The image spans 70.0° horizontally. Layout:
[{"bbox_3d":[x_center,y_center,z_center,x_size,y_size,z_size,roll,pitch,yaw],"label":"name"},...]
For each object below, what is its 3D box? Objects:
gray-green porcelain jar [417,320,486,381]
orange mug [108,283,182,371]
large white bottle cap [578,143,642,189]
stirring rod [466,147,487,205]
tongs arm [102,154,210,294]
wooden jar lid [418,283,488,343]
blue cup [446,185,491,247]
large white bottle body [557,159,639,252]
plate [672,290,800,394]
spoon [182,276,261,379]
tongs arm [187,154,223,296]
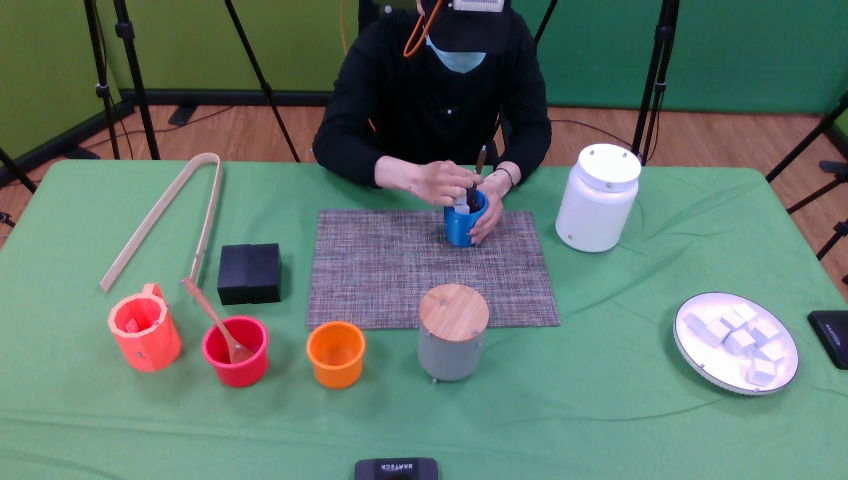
[{"bbox_3d":[0.042,0.158,0.975,0.106,0.127,0.105,2,46,-2],"label":"gray-green porcelain jar"},{"bbox_3d":[-0.445,0.134,0.982,0.083,0.101,0.125,-1,50,-5],"label":"orange mug"},{"bbox_3d":[0.344,-0.139,1.123,0.115,0.018,0.114,2,46,-2],"label":"large white bottle cap"},{"bbox_3d":[0.093,-0.100,1.148,0.014,0.177,0.006,-15,47,-29],"label":"stirring rod"},{"bbox_3d":[-0.524,-0.046,1.203,0.028,0.028,0.385,4,45,13],"label":"tongs arm"},{"bbox_3d":[0.045,0.114,0.931,0.108,0.021,0.107,2,49,-2],"label":"wooden jar lid"},{"bbox_3d":[0.080,-0.042,1.185,0.093,0.101,0.092,3,46,-3],"label":"blue cup"},{"bbox_3d":[0.340,-0.081,1.185,0.131,0.185,0.130,2,46,-1],"label":"large white bottle body"},{"bbox_3d":[0.533,0.179,1.050,0.208,0.039,0.206,2,46,-2],"label":"plate"},{"bbox_3d":[-0.321,0.137,0.957,0.041,0.021,0.194,-36,102,-32],"label":"spoon"},{"bbox_3d":[-0.442,-0.044,1.199,0.051,0.027,0.382,-4,46,1],"label":"tongs arm"}]
